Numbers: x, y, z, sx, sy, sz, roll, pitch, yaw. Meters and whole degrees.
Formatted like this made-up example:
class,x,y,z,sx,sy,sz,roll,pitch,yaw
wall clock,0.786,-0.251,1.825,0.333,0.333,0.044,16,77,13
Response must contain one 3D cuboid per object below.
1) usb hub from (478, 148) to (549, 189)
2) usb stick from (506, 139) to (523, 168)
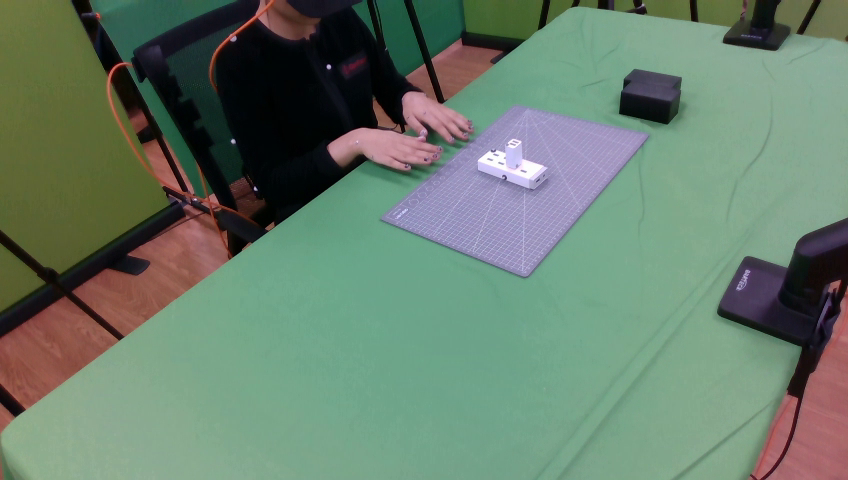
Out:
class,x,y,z,sx,sy,sz,roll,pitch,yaw
usb hub,0.161,-0.131,1.099,0.124,0.025,0.049,26,51,34
usb stick,0.160,-0.148,1.074,0.021,0.059,0.027,24,48,33
